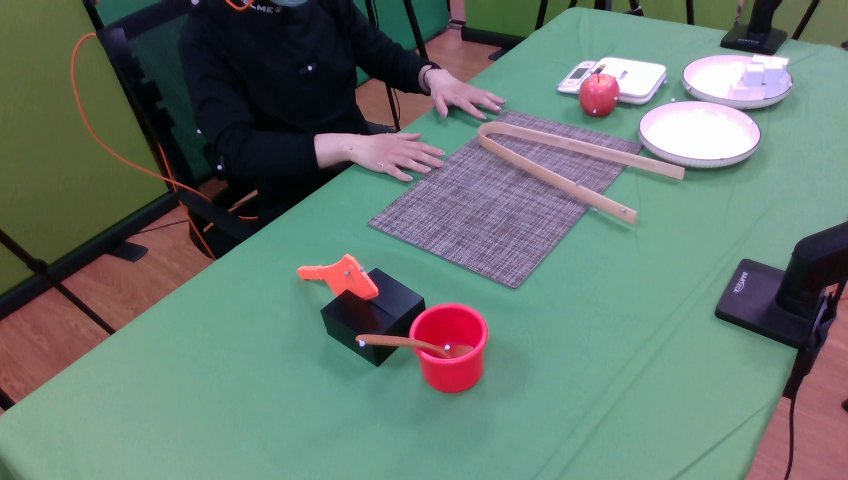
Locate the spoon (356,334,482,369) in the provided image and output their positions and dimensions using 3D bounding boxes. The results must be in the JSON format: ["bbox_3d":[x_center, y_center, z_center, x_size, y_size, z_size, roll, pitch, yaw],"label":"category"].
[{"bbox_3d":[-0.001,0.130,0.731,0.195,0.021,0.041,21,28,-39],"label":"spoon"}]

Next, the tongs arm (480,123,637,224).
[{"bbox_3d":[0.228,-0.128,1.080,0.051,0.026,0.381,-33,46,-26],"label":"tongs arm"}]

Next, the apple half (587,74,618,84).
[{"bbox_3d":[0.366,-0.310,1.243,0.081,0.081,0.033,15,49,24],"label":"apple half"}]

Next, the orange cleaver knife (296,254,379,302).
[{"bbox_3d":[-0.129,0.059,0.874,0.012,0.077,0.210,-39,16,-30],"label":"orange cleaver knife"}]

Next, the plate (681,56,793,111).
[{"bbox_3d":[0.636,-0.317,1.239,0.207,0.039,0.206,-4,40,4],"label":"plate"}]

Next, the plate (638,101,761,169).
[{"bbox_3d":[0.500,-0.189,1.111,0.209,0.038,0.208,-4,41,4],"label":"plate"}]

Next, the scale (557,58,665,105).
[{"bbox_3d":[0.407,-0.348,1.314,0.199,0.032,0.149,19,47,28],"label":"scale"}]

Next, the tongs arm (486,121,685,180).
[{"bbox_3d":[0.288,-0.170,1.124,0.384,0.028,0.028,21,52,29],"label":"tongs arm"}]

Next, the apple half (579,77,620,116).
[{"bbox_3d":[0.348,-0.285,1.218,0.080,0.075,0.053,17,49,22],"label":"apple half"}]
